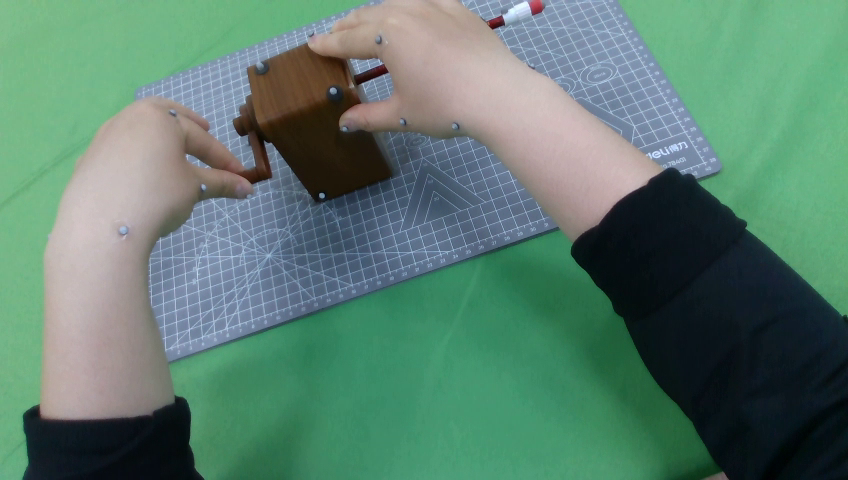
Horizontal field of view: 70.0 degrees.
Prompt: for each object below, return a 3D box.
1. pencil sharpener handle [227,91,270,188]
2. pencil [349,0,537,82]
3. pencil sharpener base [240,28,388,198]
[{"bbox_3d":[-0.129,-0.070,0.428,0.030,0.036,0.067,-22,68,3],"label":"pencil sharpener handle"},{"bbox_3d":[-0.011,-0.132,0.428,0.194,0.012,0.012,-22,61,4],"label":"pencil"},{"bbox_3d":[-0.081,-0.090,0.456,0.076,0.108,0.061,-22,60,3],"label":"pencil sharpener base"}]
